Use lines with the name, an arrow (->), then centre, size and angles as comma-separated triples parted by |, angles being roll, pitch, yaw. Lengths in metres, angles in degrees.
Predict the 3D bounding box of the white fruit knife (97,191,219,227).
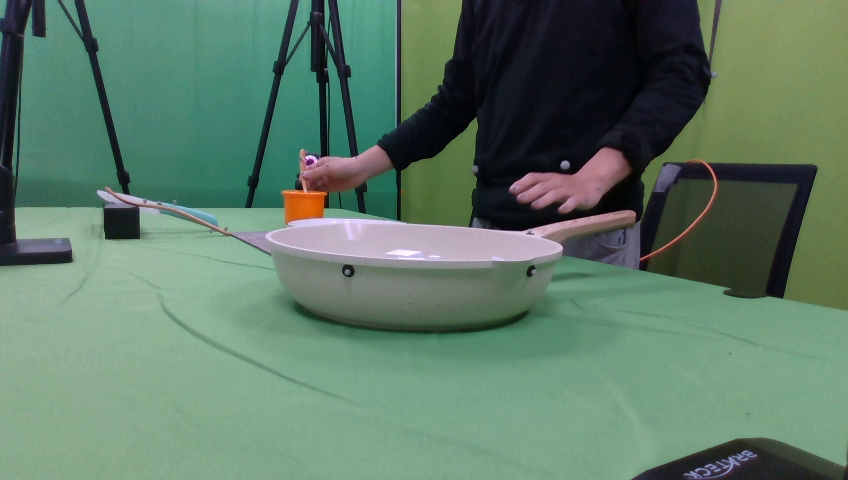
white fruit knife -> -0.468, -0.056, 1.079 | 0.208, 0.027, 0.016 | 15, -2, -29

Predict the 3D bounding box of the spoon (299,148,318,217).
spoon -> -0.248, -0.115, 1.254 | 0.042, 0.193, 0.021 | 9, -39, -34

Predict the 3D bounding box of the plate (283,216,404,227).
plate -> -0.119, -0.009, 0.968 | 0.208, 0.039, 0.207 | 3, 7, 0

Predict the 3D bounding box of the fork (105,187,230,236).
fork -> -0.428, -0.047, 1.020 | 0.208, 0.018, 0.028 | 19, -8, -26

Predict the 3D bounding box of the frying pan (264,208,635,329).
frying pan -> 0.075, 0.007, 0.666 | 0.490, 0.102, 0.305 | -12, 15, -33
